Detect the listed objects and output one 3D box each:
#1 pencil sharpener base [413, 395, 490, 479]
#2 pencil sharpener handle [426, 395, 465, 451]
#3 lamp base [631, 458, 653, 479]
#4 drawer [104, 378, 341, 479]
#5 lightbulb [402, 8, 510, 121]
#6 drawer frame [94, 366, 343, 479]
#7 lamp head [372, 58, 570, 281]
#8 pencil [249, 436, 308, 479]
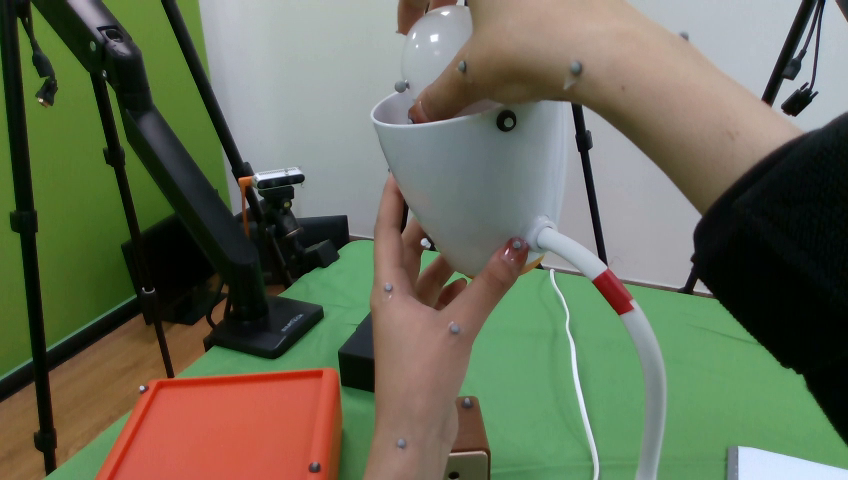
[{"bbox_3d":[0.023,0.202,0.542,0.061,0.108,0.076,-3,25,-2],"label":"pencil sharpener base"},{"bbox_3d":[0.018,0.169,0.583,0.036,0.068,0.030,2,25,-5],"label":"pencil sharpener handle"},{"bbox_3d":[0.138,0.239,0.365,0.161,0.181,0.177,-5,22,-6],"label":"lamp base"},{"bbox_3d":[-0.180,0.218,0.552,0.195,0.074,0.210,-4,24,-2],"label":"drawer"},{"bbox_3d":[0.024,-0.075,0.343,0.059,0.108,0.059,-16,18,6],"label":"lightbulb"},{"bbox_3d":[-0.182,0.215,0.554,0.202,0.083,0.212,-4,24,-3],"label":"drawer frame"},{"bbox_3d":[0.040,-0.036,0.363,0.112,0.124,0.111,-16,22,7],"label":"lamp head"},{"bbox_3d":[-0.178,0.234,0.525,0.194,0.012,0.012,-35,39,-31],"label":"pencil"}]
